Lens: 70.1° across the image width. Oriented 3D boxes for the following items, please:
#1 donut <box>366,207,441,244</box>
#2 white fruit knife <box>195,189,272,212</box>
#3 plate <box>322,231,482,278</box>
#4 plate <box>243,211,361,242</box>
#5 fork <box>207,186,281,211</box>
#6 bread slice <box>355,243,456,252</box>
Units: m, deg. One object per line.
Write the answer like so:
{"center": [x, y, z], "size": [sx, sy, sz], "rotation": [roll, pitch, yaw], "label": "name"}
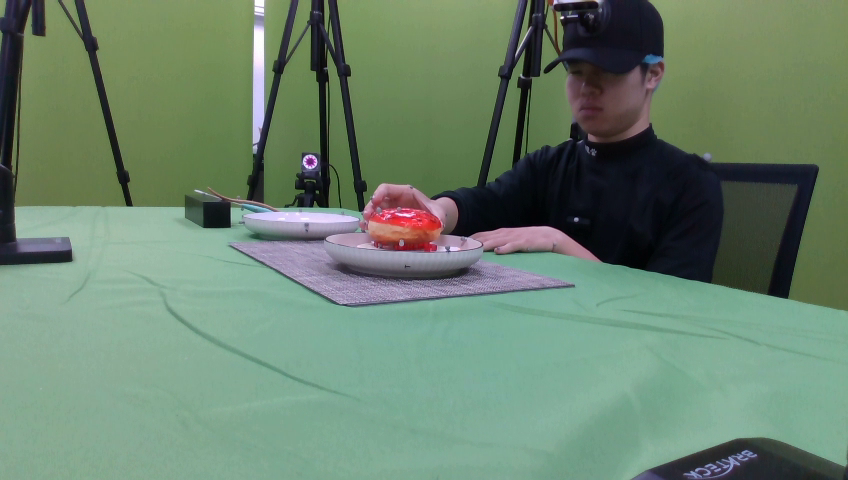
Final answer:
{"center": [-0.027, -0.017, 0.785], "size": [0.099, 0.048, 0.099], "rotation": [3, 6, 0], "label": "donut"}
{"center": [-0.377, -0.073, 1.270], "size": [0.208, 0.016, 0.027], "rotation": [18, -4, -32], "label": "white fruit knife"}
{"center": [-0.028, 0.018, 0.789], "size": [0.209, 0.038, 0.209], "rotation": [3, 7, 0], "label": "plate"}
{"center": [-0.219, -0.025, 1.092], "size": [0.208, 0.039, 0.207], "rotation": [3, 7, 0], "label": "plate"}
{"center": [-0.342, -0.070, 1.244], "size": [0.208, 0.018, 0.028], "rotation": [18, -4, -24], "label": "fork"}
{"center": [-0.027, 0.020, 0.793], "size": [0.131, 0.019, 0.105], "rotation": [6, 7, 17], "label": "bread slice"}
